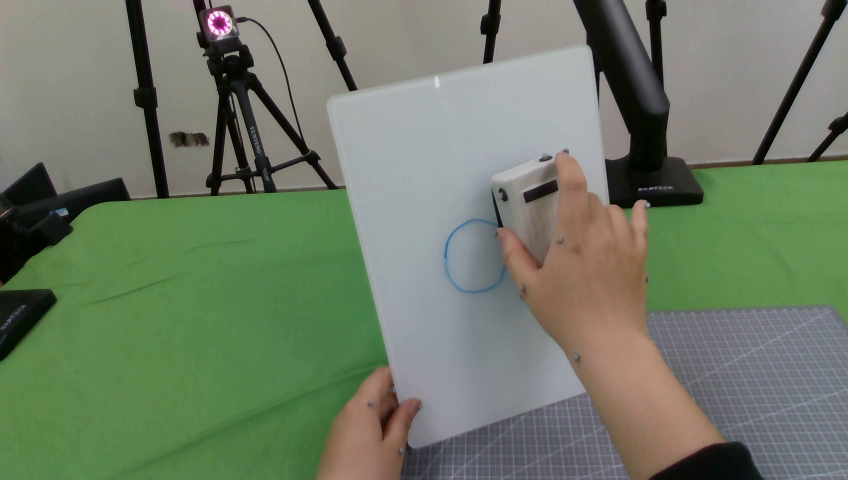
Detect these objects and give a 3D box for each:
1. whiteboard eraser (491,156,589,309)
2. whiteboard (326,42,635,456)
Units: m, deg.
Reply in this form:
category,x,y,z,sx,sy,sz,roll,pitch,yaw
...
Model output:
category,x,y,z,sx,sy,sz,roll,pitch,yaw
whiteboard eraser,0.091,-0.006,0.478,0.056,0.113,0.041,-21,17,-14
whiteboard,0.046,-0.001,0.561,0.217,0.307,0.143,-15,15,-10
